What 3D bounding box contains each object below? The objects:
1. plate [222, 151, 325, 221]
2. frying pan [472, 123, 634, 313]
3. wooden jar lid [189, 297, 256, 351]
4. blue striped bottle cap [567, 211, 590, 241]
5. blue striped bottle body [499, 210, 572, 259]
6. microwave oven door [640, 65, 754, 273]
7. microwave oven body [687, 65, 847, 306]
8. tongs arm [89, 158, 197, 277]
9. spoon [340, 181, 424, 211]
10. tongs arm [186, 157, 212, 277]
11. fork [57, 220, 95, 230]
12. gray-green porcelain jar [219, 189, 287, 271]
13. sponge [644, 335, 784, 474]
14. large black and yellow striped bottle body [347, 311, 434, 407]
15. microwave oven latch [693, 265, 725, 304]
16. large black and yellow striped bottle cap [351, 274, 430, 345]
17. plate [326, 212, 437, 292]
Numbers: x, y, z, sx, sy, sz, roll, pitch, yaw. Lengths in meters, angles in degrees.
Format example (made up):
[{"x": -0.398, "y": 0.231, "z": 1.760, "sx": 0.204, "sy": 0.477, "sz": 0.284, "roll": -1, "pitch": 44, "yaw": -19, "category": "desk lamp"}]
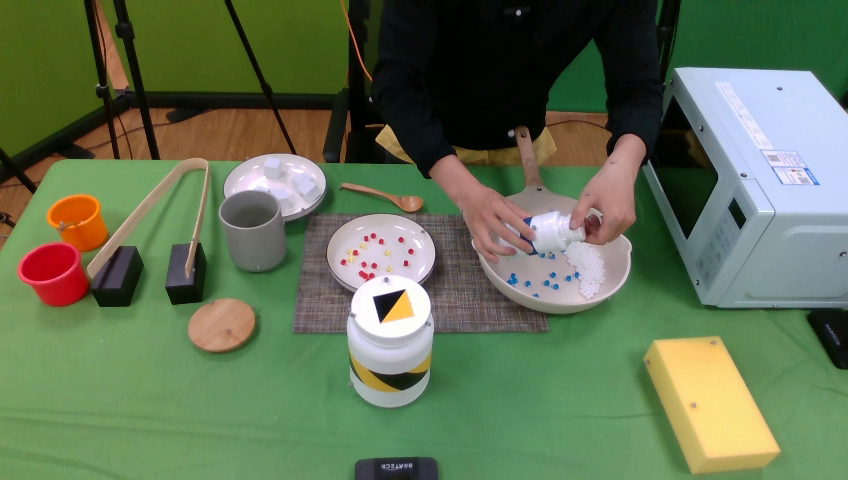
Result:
[{"x": -0.310, "y": -0.106, "z": 1.263, "sx": 0.208, "sy": 0.039, "sz": 0.206, "roll": 2, "pitch": 47, "yaw": -2, "category": "plate"}, {"x": 0.236, "y": -0.060, "z": 1.207, "sx": 0.307, "sy": 0.103, "sz": 0.484, "roll": 2, "pitch": 55, "yaw": -5, "category": "frying pan"}, {"x": -0.342, "y": 0.145, "z": 1.033, "sx": 0.108, "sy": 0.021, "sz": 0.107, "roll": 2, "pitch": 45, "yaw": -2, "category": "wooden jar lid"}, {"x": 0.235, "y": -0.021, "z": 0.920, "sx": 0.020, "sy": 0.045, "sz": 0.044, "roll": -9, "pitch": 37, "yaw": 35, "category": "blue striped bottle cap"}, {"x": 0.184, "y": -0.010, "z": 0.950, "sx": 0.120, "sy": 0.063, "sz": 0.063, "roll": -12, "pitch": 39, "yaw": 31, "category": "blue striped bottle body"}, {"x": 0.523, "y": -0.147, "z": 1.193, "sx": 0.039, "sy": 0.245, "sz": 0.353, "roll": 0, "pitch": 47, "yaw": -3, "category": "microwave oven door"}, {"x": 0.669, "y": -0.111, "z": 1.176, "sx": 0.326, "sy": 0.261, "sz": 0.439, "roll": 0, "pitch": 46, "yaw": -3, "category": "microwave oven body"}, {"x": -0.530, "y": -0.058, "z": 1.163, "sx": 0.028, "sy": 0.028, "sz": 0.385, "roll": 1, "pitch": 36, "yaw": 7, "category": "tongs arm"}, {"x": -0.090, "y": -0.100, "z": 1.282, "sx": 0.193, "sy": 0.022, "sz": 0.041, "roll": 18, "pitch": 64, "yaw": 13, "category": "spoon"}, {"x": -0.445, "y": -0.058, "z": 1.168, "sx": 0.051, "sy": 0.026, "sz": 0.382, "roll": -4, "pitch": 37, "yaw": -6, "category": "tongs arm"}, {"x": -0.624, "y": -0.027, "z": 1.087, "sx": 0.028, "sy": 0.207, "sz": 0.018, "roll": -3, "pitch": 92, "yaw": -17, "category": "fork"}, {"x": -0.310, "y": -0.014, "z": 1.113, "sx": 0.106, "sy": 0.127, "sz": 0.105, "roll": 2, "pitch": 46, "yaw": -2, "category": "gray-green porcelain jar"}, {"x": 0.449, "y": 0.253, "z": 0.956, "sx": 0.118, "sy": 0.061, "sz": 0.205, "roll": -4, "pitch": 46, "yaw": -7, "category": "sponge"}, {"x": -0.052, "y": 0.157, "z": 0.929, "sx": 0.131, "sy": 0.185, "sz": 0.130, "roll": 2, "pitch": 47, "yaw": -2, "category": "large black and yellow striped bottle body"}, {"x": 0.523, "y": 0.081, "z": 1.116, "sx": 0.030, "sy": 0.029, "sz": 0.078, "roll": 2, "pitch": 46, "yaw": -1, "category": "microwave oven latch"}, {"x": -0.048, "y": 0.097, "z": 0.867, "sx": 0.115, "sy": 0.019, "sz": 0.114, "roll": 3, "pitch": 48, "yaw": -3, "category": "large black and yellow striped bottle cap"}, {"x": -0.080, "y": 0.030, "z": 1.143, "sx": 0.209, "sy": 0.038, "sz": 0.208, "roll": 2, "pitch": 46, "yaw": -2, "category": "plate"}]
